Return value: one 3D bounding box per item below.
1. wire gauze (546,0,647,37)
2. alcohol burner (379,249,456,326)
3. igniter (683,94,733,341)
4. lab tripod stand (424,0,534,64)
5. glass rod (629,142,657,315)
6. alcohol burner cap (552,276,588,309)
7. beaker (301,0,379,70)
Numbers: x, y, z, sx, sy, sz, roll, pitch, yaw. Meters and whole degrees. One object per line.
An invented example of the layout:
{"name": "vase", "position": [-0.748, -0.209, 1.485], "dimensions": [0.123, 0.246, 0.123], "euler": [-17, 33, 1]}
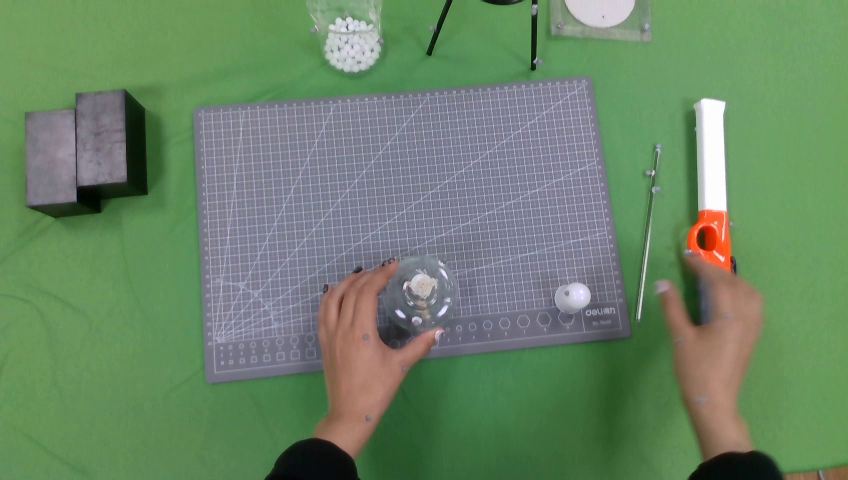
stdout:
{"name": "wire gauze", "position": [0.202, -0.300, 0.717], "dimensions": [0.125, 0.011, 0.121], "euler": [1, 80, 0]}
{"name": "alcohol burner", "position": [-0.006, 0.045, 0.595], "dimensions": [0.078, 0.119, 0.077], "euler": [1, 78, -3]}
{"name": "igniter", "position": [0.312, -0.027, 0.668], "dimensions": [0.057, 0.025, 0.275], "euler": [5, 81, -12]}
{"name": "lab tripod stand", "position": [0.067, -0.262, 0.641], "dimensions": [0.148, 0.132, 0.147], "euler": [0, 79, -1]}
{"name": "glass rod", "position": [0.243, -0.015, 0.673], "dimensions": [0.008, 0.008, 0.199], "euler": [11, 81, -1]}
{"name": "alcohol burner cap", "position": [0.156, 0.054, 0.637], "dimensions": [0.034, 0.048, 0.033], "euler": [0, 79, -1]}
{"name": "beaker", "position": [-0.082, -0.232, 0.647], "dimensions": [0.084, 0.100, 0.074], "euler": [40, 82, 4]}
